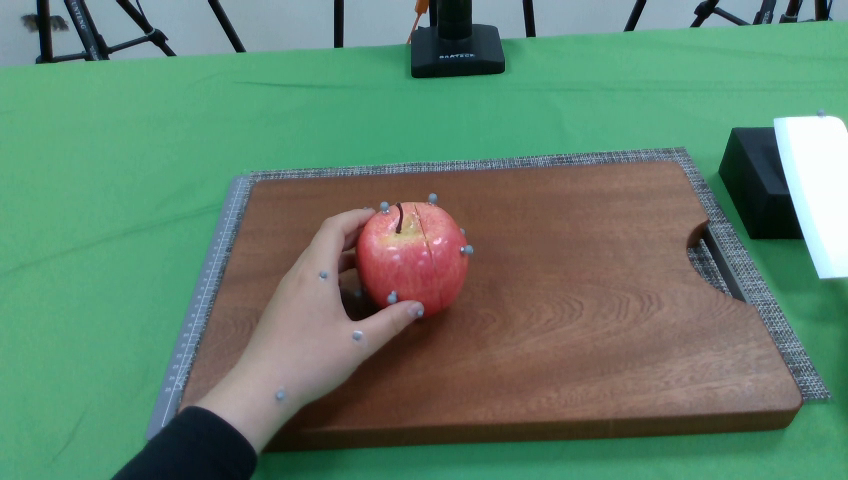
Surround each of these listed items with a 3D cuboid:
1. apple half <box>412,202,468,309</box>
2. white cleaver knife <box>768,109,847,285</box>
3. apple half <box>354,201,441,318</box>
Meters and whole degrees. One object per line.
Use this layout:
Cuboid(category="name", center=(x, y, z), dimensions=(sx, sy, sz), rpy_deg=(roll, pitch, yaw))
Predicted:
Cuboid(category="apple half", center=(0.015, 0.009, 0.437), dimensions=(0.033, 0.082, 0.080), rpy_deg=(-16, 44, -5))
Cuboid(category="white cleaver knife", center=(0.326, 0.008, 0.461), dimensions=(0.065, 0.022, 0.284), rpy_deg=(-11, 54, 20))
Cuboid(category="apple half", center=(-0.022, 0.018, 0.433), dimensions=(0.053, 0.075, 0.080), rpy_deg=(-16, 47, -5))
